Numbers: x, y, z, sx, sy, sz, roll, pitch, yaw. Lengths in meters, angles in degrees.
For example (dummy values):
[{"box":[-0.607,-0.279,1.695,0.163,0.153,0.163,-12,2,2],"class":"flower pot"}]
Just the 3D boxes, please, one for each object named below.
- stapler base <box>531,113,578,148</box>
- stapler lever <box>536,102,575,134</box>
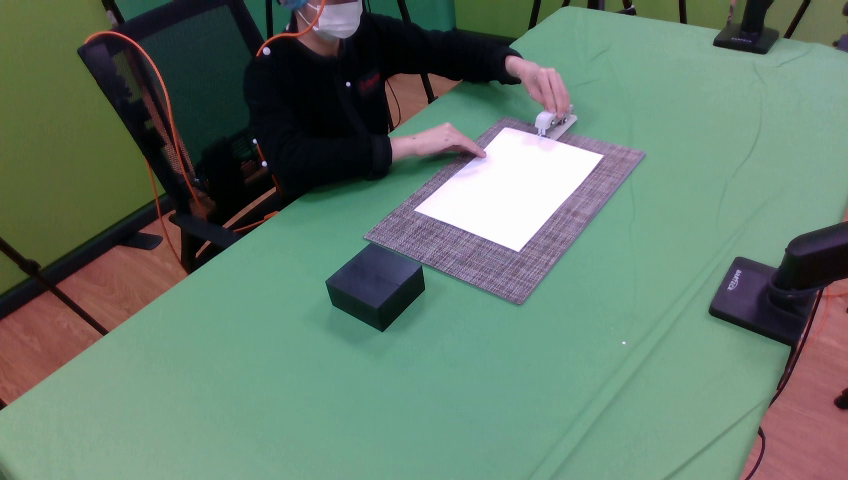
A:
[{"box":[0.257,-0.224,1.189,0.041,0.024,0.131,24,48,29],"class":"stapler base"},{"box":[0.255,-0.244,1.173,0.026,0.040,0.118,24,48,29],"class":"stapler lever"}]
